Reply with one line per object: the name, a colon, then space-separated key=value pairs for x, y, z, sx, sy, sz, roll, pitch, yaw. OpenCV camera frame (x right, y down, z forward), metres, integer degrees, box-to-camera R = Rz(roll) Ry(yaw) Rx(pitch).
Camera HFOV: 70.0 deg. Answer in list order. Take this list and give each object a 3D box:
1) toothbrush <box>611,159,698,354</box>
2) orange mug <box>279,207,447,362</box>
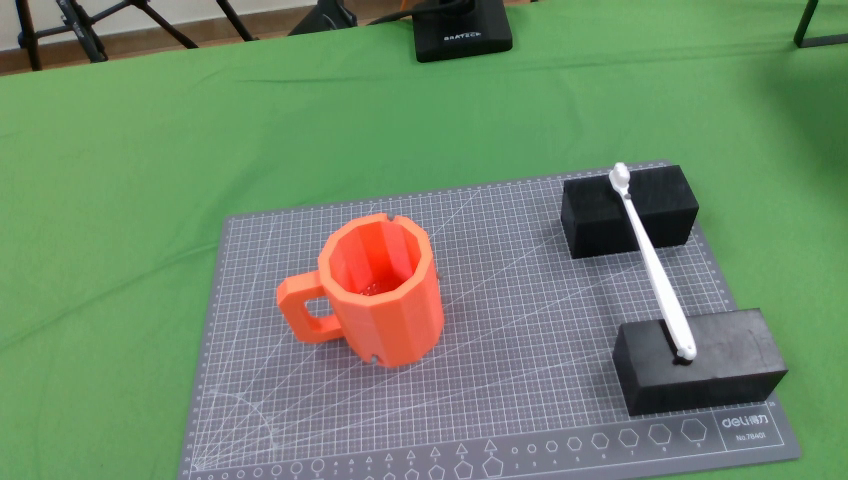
toothbrush: x=0.175 y=0.005 z=0.466 sx=0.014 sy=0.017 sz=0.180 roll=1 pitch=53 yaw=-10
orange mug: x=-0.047 y=0.040 z=0.481 sx=0.126 sy=0.102 sz=0.082 roll=-11 pitch=52 yaw=-6
